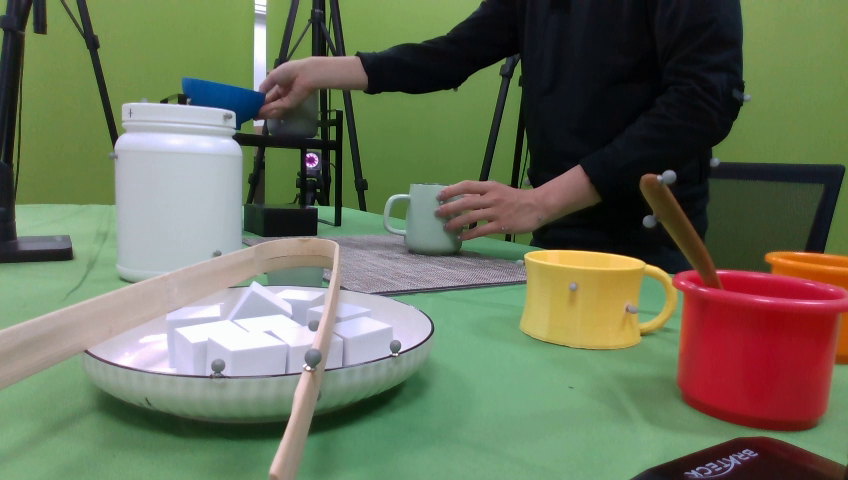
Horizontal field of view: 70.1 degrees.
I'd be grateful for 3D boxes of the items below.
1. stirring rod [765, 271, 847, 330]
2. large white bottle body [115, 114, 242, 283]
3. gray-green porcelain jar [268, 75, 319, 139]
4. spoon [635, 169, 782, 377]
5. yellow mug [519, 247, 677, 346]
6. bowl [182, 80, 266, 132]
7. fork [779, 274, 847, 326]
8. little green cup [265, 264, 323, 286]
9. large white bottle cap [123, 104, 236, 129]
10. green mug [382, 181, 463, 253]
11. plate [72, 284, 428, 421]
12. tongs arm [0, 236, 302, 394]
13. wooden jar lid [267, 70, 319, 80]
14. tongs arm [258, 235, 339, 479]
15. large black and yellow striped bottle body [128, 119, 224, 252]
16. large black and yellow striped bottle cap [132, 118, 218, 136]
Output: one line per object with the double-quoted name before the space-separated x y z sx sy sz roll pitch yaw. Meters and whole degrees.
"stirring rod" 0.352 0.020 0.481 0.176 0.006 0.014 -40 -8 17
"large white bottle body" -0.270 -0.051 0.673 0.131 0.184 0.130 2 8 0
"gray-green porcelain jar" -0.277 -0.279 1.280 0.106 0.126 0.106 2 8 0
"spoon" 0.161 0.026 0.346 0.021 0.194 0.041 -51 32 -19
"yellow mug" 0.148 0.045 0.513 0.131 0.064 0.100 3 6 0
"bowl" -0.379 -0.249 1.140 0.151 0.077 0.151 9 8 -1
"fork" 0.332 0.019 0.443 0.028 0.018 0.207 -3 -35 -16
"little green cup" -0.134 0.033 0.628 0.061 0.038 0.061 3 7 0
"large white bottle cap" -0.266 -0.135 0.663 0.115 0.018 0.115 3 7 0
"green mug" -0.001 -0.036 0.922 0.126 0.105 0.092 0 8 -16
"plate" -0.102 0.067 0.381 0.208 0.039 0.207 3 7 0
"tongs arm" -0.157 0.038 0.347 0.028 0.028 0.388 -3 8 11
"wooden jar lid" -0.275 -0.339 1.271 0.108 0.020 0.108 5 6 0
"tongs arm" -0.074 0.040 0.345 0.051 0.026 0.384 -2 10 -3
"large black and yellow striped bottle body" -0.361 -0.081 0.887 0.131 0.184 0.130 2 8 0
"large black and yellow striped bottle cap" -0.359 -0.164 0.875 0.115 0.019 0.115 2 6 0
